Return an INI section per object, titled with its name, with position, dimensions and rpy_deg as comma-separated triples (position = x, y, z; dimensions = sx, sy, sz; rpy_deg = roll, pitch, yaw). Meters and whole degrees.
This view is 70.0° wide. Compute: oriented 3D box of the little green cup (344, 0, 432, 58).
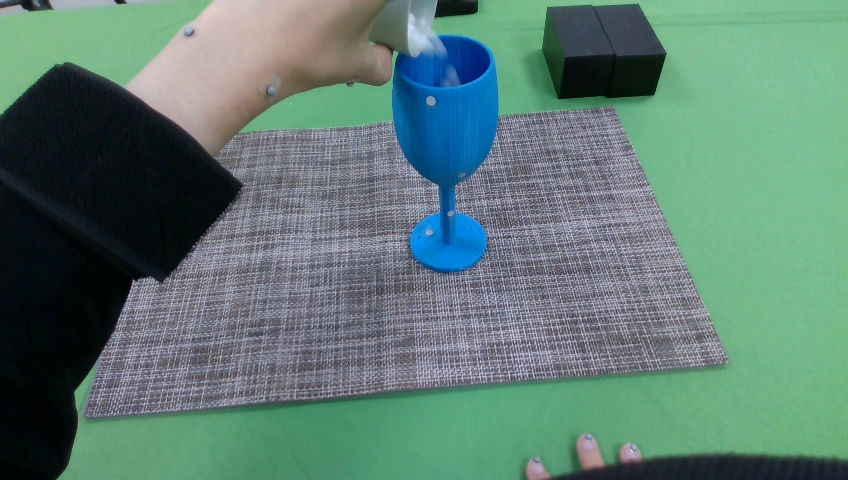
[little green cup]
position = -0.021, -0.144, 0.362
dimensions = 0.038, 0.062, 0.061
rpy_deg = 16, 51, 9

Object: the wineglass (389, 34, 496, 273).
[wineglass]
position = 0.014, -0.055, 0.441
dimensions = 0.074, 0.174, 0.073
rpy_deg = -1, 49, 2
